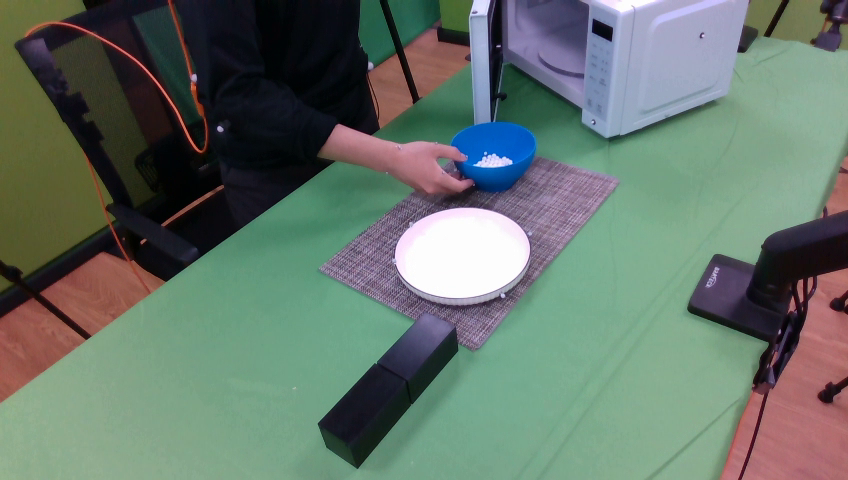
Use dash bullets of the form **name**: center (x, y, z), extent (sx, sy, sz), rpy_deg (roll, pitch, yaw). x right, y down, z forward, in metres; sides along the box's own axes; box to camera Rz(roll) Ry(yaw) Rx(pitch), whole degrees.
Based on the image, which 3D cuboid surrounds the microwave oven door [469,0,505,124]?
- **microwave oven door**: center (0.133, -0.403, 1.225), extent (0.039, 0.245, 0.354), rpy_deg (1, 41, 11)

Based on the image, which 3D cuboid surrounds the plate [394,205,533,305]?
- **plate**: center (0.059, 0.025, 0.915), extent (0.207, 0.039, 0.206), rpy_deg (-4, 41, 4)

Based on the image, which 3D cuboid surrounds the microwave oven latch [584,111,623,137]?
- **microwave oven latch**: center (0.337, -0.222, 1.142), extent (0.030, 0.029, 0.078), rpy_deg (-21, 42, -14)

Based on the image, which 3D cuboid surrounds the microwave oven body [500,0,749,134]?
- **microwave oven body**: center (0.382, -0.444, 1.246), extent (0.327, 0.261, 0.437), rpy_deg (-22, 42, -16)

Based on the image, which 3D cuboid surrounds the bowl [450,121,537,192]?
- **bowl**: center (0.123, -0.137, 1.064), extent (0.151, 0.077, 0.150), rpy_deg (-4, 40, 4)
